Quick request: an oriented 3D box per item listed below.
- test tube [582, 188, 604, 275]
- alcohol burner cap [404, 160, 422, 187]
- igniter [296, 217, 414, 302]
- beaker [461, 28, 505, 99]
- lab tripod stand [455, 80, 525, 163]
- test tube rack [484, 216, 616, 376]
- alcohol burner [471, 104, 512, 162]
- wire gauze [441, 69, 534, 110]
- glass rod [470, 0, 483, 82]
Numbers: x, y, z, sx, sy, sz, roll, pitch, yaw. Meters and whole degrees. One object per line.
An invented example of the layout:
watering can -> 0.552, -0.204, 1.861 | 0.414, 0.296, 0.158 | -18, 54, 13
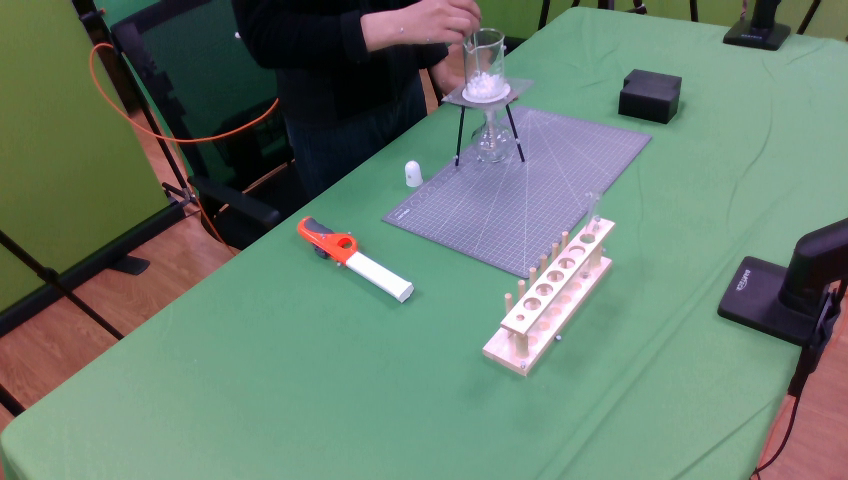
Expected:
test tube -> 0.228, -0.007, 0.821 | 0.017, 0.151, 0.017 | -3, 42, 3
alcohol burner cap -> -0.022, -0.125, 1.118 | 0.034, 0.048, 0.033 | -4, 40, 4
igniter -> -0.121, 0.025, 0.970 | 0.274, 0.025, 0.057 | 29, 63, 37
beaker -> 0.103, -0.304, 1.051 | 0.073, 0.101, 0.084 | 19, 48, 29
lab tripod stand -> 0.120, -0.219, 1.126 | 0.148, 0.132, 0.147 | -4, 40, 4
test tube rack -> 0.174, 0.064, 0.823 | 0.066, 0.085, 0.243 | 23, 49, 32
alcohol burner -> 0.125, -0.207, 1.126 | 0.078, 0.119, 0.077 | -5, 43, 5
wire gauze -> 0.114, -0.268, 1.082 | 0.120, 0.011, 0.125 | 22, 47, 29
glass rod -> 0.088, -0.350, 1.022 | 0.008, 0.201, 0.008 | -6, 51, 8
